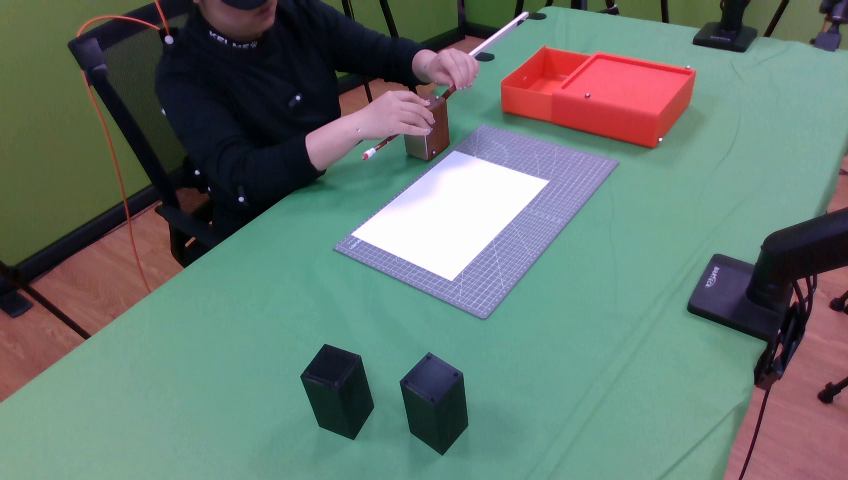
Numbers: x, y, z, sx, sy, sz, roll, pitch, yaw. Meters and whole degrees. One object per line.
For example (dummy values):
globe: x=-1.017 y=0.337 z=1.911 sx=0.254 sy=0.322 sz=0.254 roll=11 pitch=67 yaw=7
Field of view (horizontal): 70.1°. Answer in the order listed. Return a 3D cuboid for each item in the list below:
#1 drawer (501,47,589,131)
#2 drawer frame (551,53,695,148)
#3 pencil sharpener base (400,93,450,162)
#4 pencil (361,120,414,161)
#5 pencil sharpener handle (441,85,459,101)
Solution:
drawer: x=0.296 y=-0.316 z=1.256 sx=0.210 sy=0.073 sz=0.195 roll=22 pitch=48 yaw=29
drawer frame: x=0.391 y=-0.281 z=1.196 sx=0.212 sy=0.083 sz=0.202 roll=22 pitch=48 yaw=30
pencil sharpener base: x=0.005 y=-0.216 z=1.160 sx=0.061 sy=0.107 sz=0.077 roll=23 pitch=48 yaw=31
pencil: x=-0.049 y=-0.193 z=1.095 sx=0.012 sy=0.012 sz=0.194 roll=22 pitch=48 yaw=31
pencil sharpener handle: x=0.040 y=-0.271 z=1.158 sx=0.036 sy=0.067 sz=0.031 roll=50 pitch=55 yaw=-3
